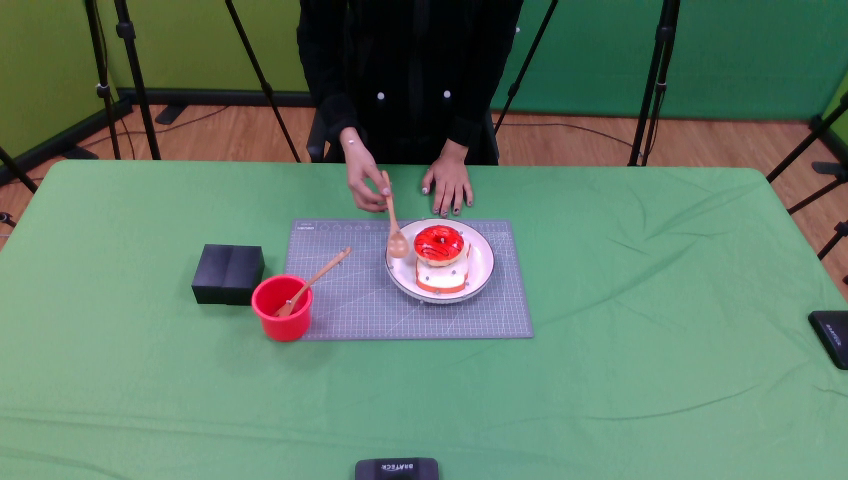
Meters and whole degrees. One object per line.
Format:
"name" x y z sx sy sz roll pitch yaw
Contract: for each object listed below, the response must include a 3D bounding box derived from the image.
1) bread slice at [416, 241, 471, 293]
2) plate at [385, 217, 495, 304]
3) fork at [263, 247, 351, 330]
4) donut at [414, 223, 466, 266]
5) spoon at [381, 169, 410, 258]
"bread slice" 0.037 0.046 1.144 0.105 0.019 0.131 4 45 1
"plate" 0.030 0.041 1.146 0.209 0.038 0.208 2 46 -2
"fork" -0.197 0.081 1.016 0.207 0.019 0.028 -44 51 14
"donut" 0.030 0.007 1.140 0.099 0.048 0.098 0 42 0
"spoon" -0.060 -0.052 1.142 0.041 0.022 0.193 -12 69 3
